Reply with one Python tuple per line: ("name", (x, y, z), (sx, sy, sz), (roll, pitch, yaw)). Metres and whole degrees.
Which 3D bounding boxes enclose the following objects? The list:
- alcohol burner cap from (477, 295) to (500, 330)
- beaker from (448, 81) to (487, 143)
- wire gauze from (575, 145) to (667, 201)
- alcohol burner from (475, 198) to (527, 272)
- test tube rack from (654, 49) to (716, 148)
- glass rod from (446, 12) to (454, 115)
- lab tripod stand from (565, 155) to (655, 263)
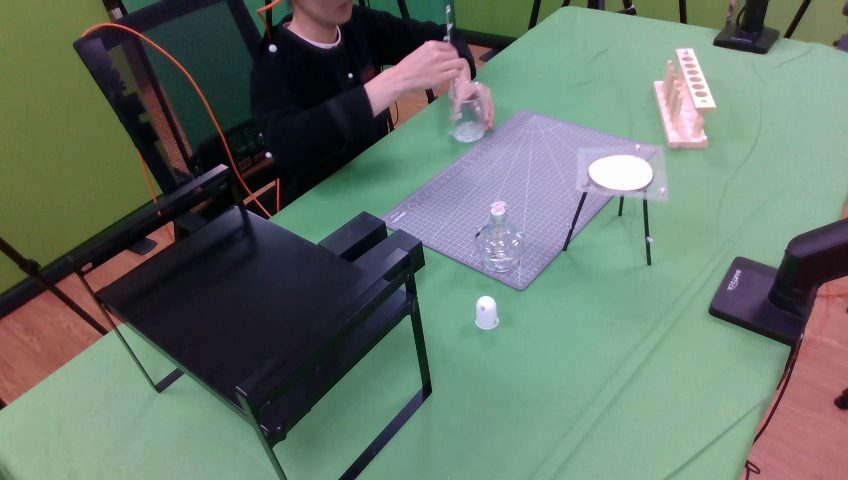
("alcohol burner cap", (0.089, 0.097, 0.833), (0.034, 0.048, 0.033), (-4, 42, 4))
("beaker", (0.089, -0.251, 1.191), (0.073, 0.101, 0.084), (30, 55, 31))
("wire gauze", (0.279, -0.100, 0.861), (0.124, 0.011, 0.121), (5, 43, 14))
("alcohol burner", (0.113, -0.012, 0.897), (0.078, 0.119, 0.077), (-6, 40, 6))
("test tube rack", (0.502, -0.281, 1.176), (0.066, 0.085, 0.241), (2, 41, 11))
("glass rod", (0.049, -0.321, 1.120), (0.008, 0.200, 0.008), (-3, 41, 3))
("lab tripod stand", (0.285, -0.046, 0.901), (0.148, 0.132, 0.147), (-5, 42, 5))
